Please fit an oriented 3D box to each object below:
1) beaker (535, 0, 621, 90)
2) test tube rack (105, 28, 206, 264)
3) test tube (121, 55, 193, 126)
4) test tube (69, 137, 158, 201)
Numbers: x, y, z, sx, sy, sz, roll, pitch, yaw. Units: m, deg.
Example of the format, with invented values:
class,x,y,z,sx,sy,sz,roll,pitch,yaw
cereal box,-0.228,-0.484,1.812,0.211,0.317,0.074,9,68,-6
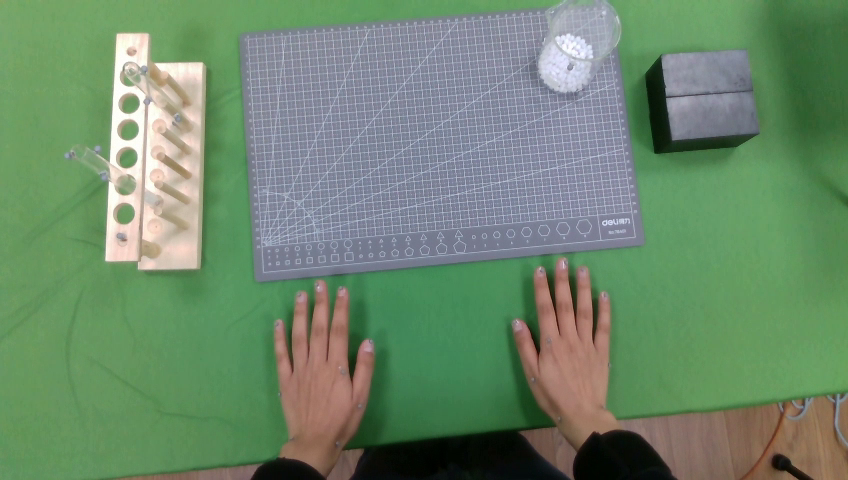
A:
class,x,y,z,sx,sy,sz,roll,pitch,yaw
beaker,0.165,-0.219,0.679,0.084,0.100,0.074,26,82,4
test tube rack,-0.290,-0.098,0.664,0.067,0.085,0.241,-1,83,-1
test tube,-0.273,-0.151,0.626,0.017,0.151,0.017,0,80,-1
test tube,-0.307,-0.067,0.611,0.017,0.151,0.017,0,77,1
